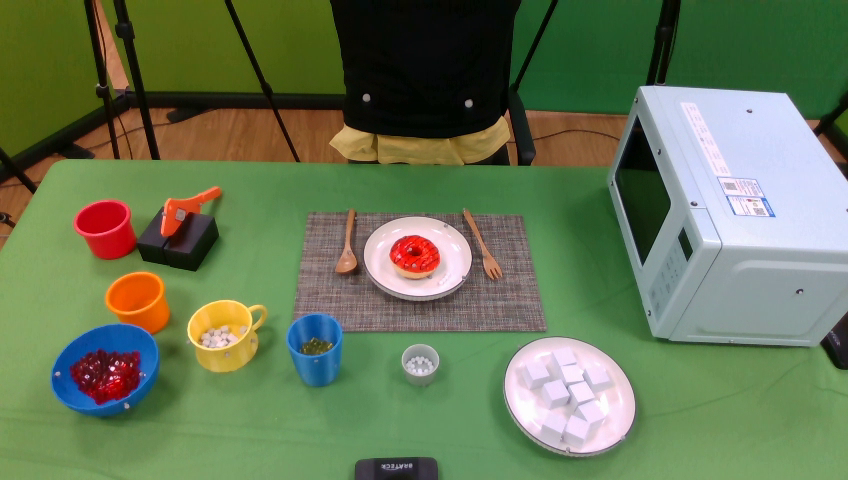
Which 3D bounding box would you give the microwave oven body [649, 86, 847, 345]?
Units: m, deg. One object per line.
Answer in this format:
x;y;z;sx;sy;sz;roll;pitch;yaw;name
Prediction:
0.568;-0.053;1.118;0.326;0.261;0.439;2;45;-1;microwave oven body

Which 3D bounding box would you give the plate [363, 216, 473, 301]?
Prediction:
-0.012;0.038;1.145;0.209;0.038;0.208;2;46;-2;plate

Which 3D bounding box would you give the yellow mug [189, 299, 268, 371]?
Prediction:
-0.316;0.148;1.002;0.131;0.064;0.099;-32;56;-31;yellow mug

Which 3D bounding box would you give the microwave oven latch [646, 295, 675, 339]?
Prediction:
0.412;0.134;1.061;0.030;0.029;0.078;4;45;1;microwave oven latch

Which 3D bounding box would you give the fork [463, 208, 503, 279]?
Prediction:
0.112;0.003;1.200;0.028;0.019;0.206;-19;50;-2;fork

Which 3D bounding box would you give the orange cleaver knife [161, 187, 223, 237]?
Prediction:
-0.448;-0.059;1.181;0.012;0.077;0.211;14;17;6;orange cleaver knife

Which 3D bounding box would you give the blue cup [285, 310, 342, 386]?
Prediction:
-0.170;0.179;0.958;0.093;0.101;0.092;2;44;-1;blue cup

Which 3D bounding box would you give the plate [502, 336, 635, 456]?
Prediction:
0.225;0.248;0.963;0.208;0.039;0.206;2;46;-2;plate

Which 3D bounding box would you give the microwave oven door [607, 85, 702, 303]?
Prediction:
0.423;-0.094;1.141;0.039;0.245;0.353;2;46;-1;microwave oven door

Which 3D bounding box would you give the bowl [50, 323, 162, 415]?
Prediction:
-0.472;0.209;0.924;0.151;0.077;0.150;3;45;-2;bowl

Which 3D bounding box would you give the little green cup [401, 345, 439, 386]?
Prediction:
-0.007;0.206;0.988;0.061;0.039;0.061;2;46;-2;little green cup

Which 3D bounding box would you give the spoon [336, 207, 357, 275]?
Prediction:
-0.147;-0.002;1.184;0.041;0.022;0.192;-16;45;14;spoon

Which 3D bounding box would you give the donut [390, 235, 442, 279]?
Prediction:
-0.016;0.031;1.135;0.099;0.048;0.098;4;44;-3;donut
